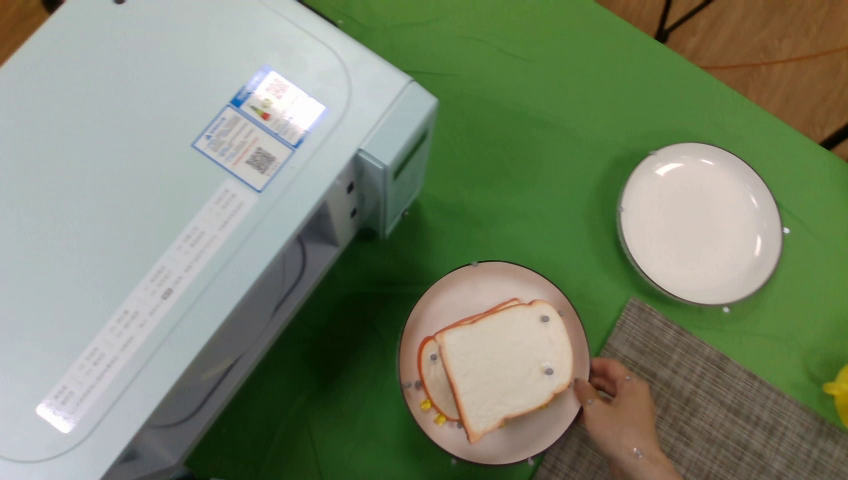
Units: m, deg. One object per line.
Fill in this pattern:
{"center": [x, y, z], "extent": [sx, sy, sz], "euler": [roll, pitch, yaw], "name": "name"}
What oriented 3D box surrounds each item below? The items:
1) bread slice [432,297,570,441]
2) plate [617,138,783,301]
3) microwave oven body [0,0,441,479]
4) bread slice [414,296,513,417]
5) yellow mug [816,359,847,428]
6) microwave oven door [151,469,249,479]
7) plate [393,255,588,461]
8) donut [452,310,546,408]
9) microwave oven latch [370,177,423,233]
{"center": [0.079, 0.112, 0.583], "extent": [0.134, 0.018, 0.107], "euler": [-23, 95, -21], "name": "bread slice"}
{"center": [0.338, -0.024, 0.758], "extent": [0.208, 0.039, 0.206], "euler": [1, 77, -5], "name": "plate"}
{"center": [-0.247, -0.018, 0.584], "extent": [0.325, 0.261, 0.440], "euler": [35, 77, 3], "name": "microwave oven body"}
{"center": [0.057, 0.129, 0.642], "extent": [0.132, 0.019, 0.104], "euler": [-20, 84, -18], "name": "bread slice"}
{"center": [0.532, 0.181, 0.712], "extent": [0.131, 0.064, 0.099], "euler": [13, 75, -1], "name": "yellow mug"}
{"center": [-0.082, 0.259, 0.529], "extent": [0.356, 0.244, 0.039], "euler": [9, 75, -3], "name": "microwave oven door"}
{"center": [0.069, 0.122, 0.640], "extent": [0.210, 0.038, 0.208], "euler": [2, 81, -9], "name": "plate"}
{"center": [0.077, 0.120, 0.614], "extent": [0.099, 0.048, 0.099], "euler": [2, 83, -15], "name": "donut"}
{"center": [-0.032, -0.049, 0.710], "extent": [0.030, 0.029, 0.079], "euler": [34, 77, 3], "name": "microwave oven latch"}
